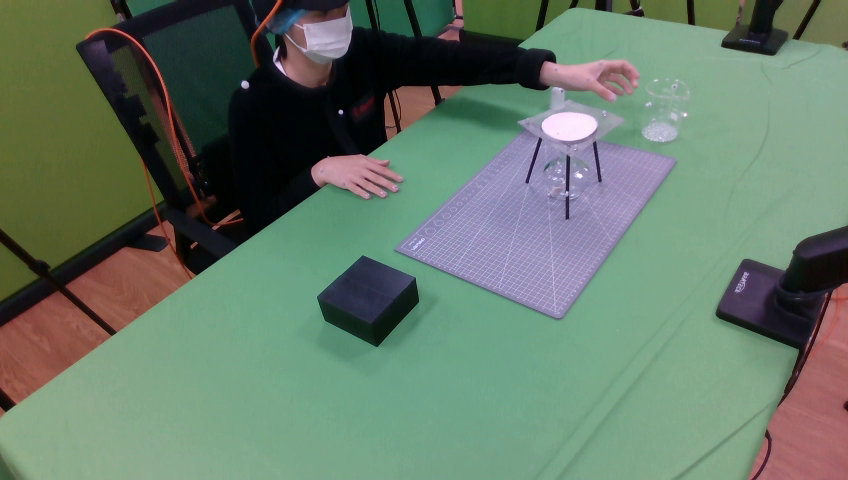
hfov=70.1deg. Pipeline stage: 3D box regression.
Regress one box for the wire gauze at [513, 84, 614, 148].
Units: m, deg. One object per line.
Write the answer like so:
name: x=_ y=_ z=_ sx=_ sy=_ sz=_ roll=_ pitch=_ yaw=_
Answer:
wire gauze: x=0.220 y=-0.194 z=0.951 sx=0.120 sy=0.011 sz=0.125 roll=23 pitch=56 yaw=25

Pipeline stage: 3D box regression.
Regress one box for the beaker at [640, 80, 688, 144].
beaker: x=0.446 y=-0.235 z=1.126 sx=0.074 sy=0.101 sz=0.083 roll=-34 pitch=47 yaw=-27

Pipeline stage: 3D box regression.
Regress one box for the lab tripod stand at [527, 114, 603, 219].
lab tripod stand: x=0.234 y=-0.129 z=1.002 sx=0.148 sy=0.132 sz=0.147 roll=-6 pitch=40 yaw=6

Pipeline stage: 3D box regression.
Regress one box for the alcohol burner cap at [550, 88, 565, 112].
alcohol burner cap: x=0.281 y=-0.297 z=1.271 sx=0.034 sy=0.048 sz=0.033 roll=-4 pitch=41 yaw=4

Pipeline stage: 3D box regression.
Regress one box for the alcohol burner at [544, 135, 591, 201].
alcohol burner: x=0.240 y=-0.125 z=1.012 sx=0.078 sy=0.119 sz=0.077 roll=-5 pitch=42 yaw=5
